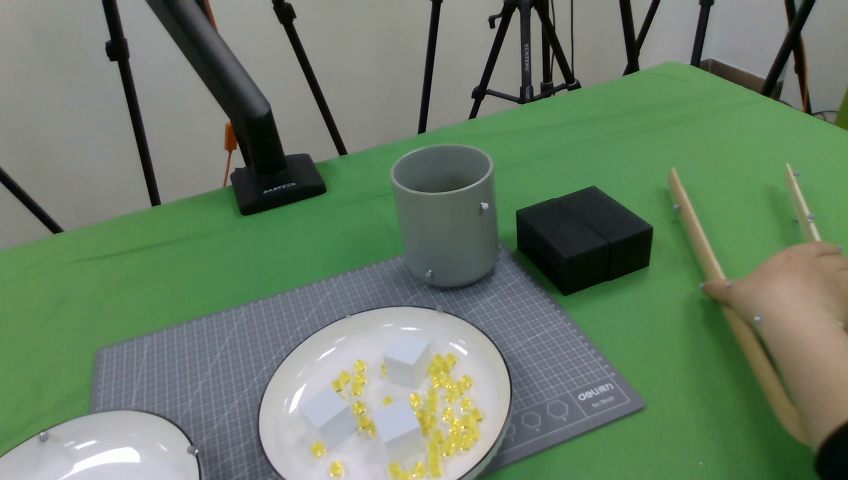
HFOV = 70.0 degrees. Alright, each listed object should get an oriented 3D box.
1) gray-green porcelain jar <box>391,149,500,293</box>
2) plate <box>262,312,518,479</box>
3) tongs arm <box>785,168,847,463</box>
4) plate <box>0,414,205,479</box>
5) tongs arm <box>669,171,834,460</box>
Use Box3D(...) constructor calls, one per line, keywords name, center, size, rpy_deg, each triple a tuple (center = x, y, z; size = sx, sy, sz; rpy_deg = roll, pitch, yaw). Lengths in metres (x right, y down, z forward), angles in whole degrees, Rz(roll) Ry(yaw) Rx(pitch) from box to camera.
Box3D(name="gray-green porcelain jar", center=(0.026, -0.016, 0.639), size=(0.106, 0.127, 0.105), rpy_deg=(-5, 35, 4))
Box3D(name="plate", center=(-0.027, 0.142, 0.503), size=(0.207, 0.039, 0.205), rpy_deg=(-5, 35, 4))
Box3D(name="tongs arm", center=(0.364, 0.039, 0.579), size=(0.050, 0.027, 0.382), rpy_deg=(4, 38, 14))
Box3D(name="plate", center=(-0.258, 0.221, 0.436), size=(0.209, 0.038, 0.207), rpy_deg=(-6, 36, 5))
Box3D(name="tongs arm", center=(0.295, 0.039, 0.594), size=(0.028, 0.028, 0.384), rpy_deg=(0, 37, 4))
